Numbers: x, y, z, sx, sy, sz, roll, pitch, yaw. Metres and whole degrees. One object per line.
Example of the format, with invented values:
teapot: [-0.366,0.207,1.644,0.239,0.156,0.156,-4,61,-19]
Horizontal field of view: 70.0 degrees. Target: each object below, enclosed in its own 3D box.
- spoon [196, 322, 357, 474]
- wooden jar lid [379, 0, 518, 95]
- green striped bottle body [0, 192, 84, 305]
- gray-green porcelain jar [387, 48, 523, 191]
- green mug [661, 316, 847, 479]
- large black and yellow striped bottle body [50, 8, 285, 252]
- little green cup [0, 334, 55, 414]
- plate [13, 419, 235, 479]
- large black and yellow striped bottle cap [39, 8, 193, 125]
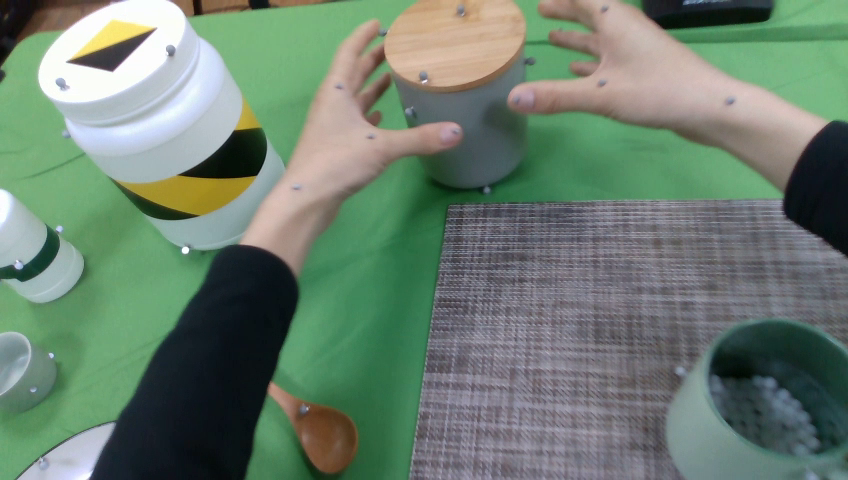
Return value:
spoon: [-0.120,0.111,0.466,0.192,0.022,0.041,31,81,28]
wooden jar lid: [0.019,-0.149,0.473,0.108,0.021,0.107,-5,58,9]
green striped bottle body: [-0.367,0.004,0.535,0.063,0.120,0.062,-6,55,9]
gray-green porcelain jar: [0.031,-0.113,0.523,0.106,0.128,0.105,-6,55,9]
green mug: [0.204,0.107,0.342,0.124,0.106,0.092,20,62,24]
large black and yellow striped bottle body: [-0.213,-0.088,0.524,0.130,0.186,0.129,-6,55,9]
little green cup: [-0.344,0.114,0.504,0.061,0.039,0.061,-6,54,9]
plate: [-0.211,0.225,0.400,0.209,0.038,0.207,-5,55,8]
large black and yellow striped bottle cap: [-0.230,-0.133,0.455,0.115,0.019,0.114,-6,54,8]
